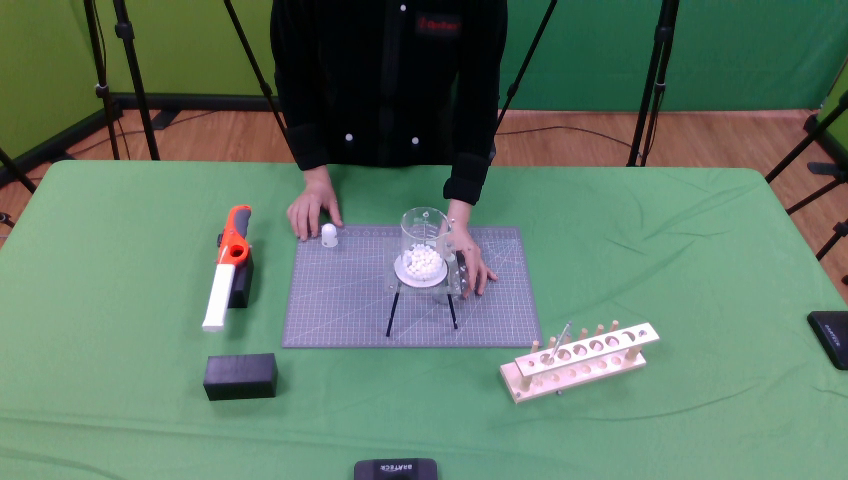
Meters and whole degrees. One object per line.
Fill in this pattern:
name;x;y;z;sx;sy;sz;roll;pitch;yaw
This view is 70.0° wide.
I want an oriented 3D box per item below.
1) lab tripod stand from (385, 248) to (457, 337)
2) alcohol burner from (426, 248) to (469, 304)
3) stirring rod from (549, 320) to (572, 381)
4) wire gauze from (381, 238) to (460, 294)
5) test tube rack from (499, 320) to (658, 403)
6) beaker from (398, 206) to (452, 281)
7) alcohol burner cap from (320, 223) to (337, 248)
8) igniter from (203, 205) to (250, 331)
lab tripod stand;-0.010;0.087;1.032;0.148;0.132;0.147;1;45;-1
alcohol burner;0.042;0.058;1.078;0.078;0.120;0.077;1;46;-1
stirring rod;0.202;0.167;0.901;0.006;0.177;0.014;-18;55;-11
wire gauze;-0.008;0.042;0.985;0.125;0.011;0.120;-1;43;-2
test tube rack;0.252;0.187;0.994;0.243;0.085;0.066;-12;48;-15
beaker;0.000;0.009;0.950;0.084;0.101;0.073;10;45;6
alcohol burner cap;-0.188;-0.010;1.176;0.034;0.048;0.033;2;46;-1
igniter;-0.345;0.039;1.065;0.057;0.025;0.274;2;49;-6
